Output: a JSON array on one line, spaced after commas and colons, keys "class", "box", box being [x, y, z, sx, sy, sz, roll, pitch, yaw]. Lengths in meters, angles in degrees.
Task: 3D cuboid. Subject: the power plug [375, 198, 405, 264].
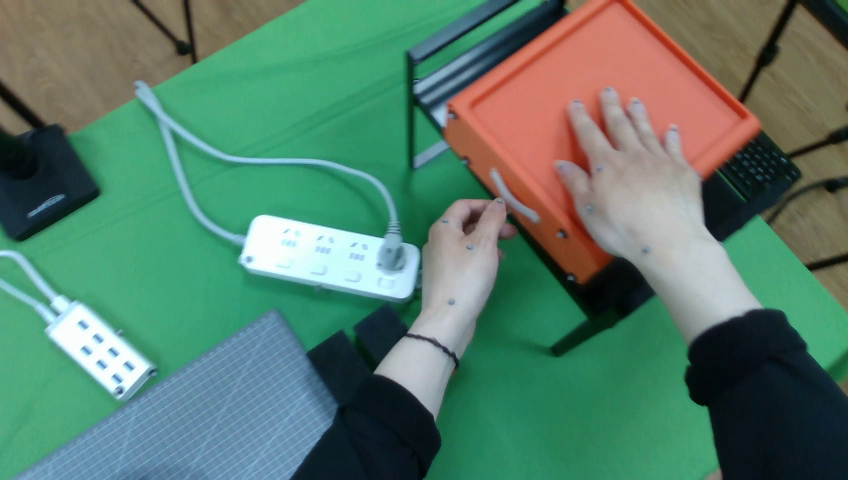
[{"class": "power plug", "box": [-0.034, -0.005, 0.731, 0.035, 0.053, 0.072, 23, 72, 5]}]

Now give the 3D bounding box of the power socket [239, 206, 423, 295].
[{"class": "power socket", "box": [-0.113, 0.013, 0.741, 0.227, 0.033, 0.072, 12, 73, 2]}]

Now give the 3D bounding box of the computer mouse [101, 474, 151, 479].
[{"class": "computer mouse", "box": [-0.299, 0.289, 0.646, 0.117, 0.041, 0.062, 6, 74, 3]}]

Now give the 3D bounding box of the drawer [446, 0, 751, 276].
[{"class": "drawer", "box": [0.160, -0.105, 0.576, 0.211, 0.073, 0.193, -37, 78, -12]}]

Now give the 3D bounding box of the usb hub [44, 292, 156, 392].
[{"class": "usb hub", "box": [-0.376, 0.118, 0.703, 0.125, 0.025, 0.049, 38, 76, 9]}]

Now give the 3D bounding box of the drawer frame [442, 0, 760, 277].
[{"class": "drawer frame", "box": [0.160, -0.109, 0.576, 0.213, 0.083, 0.200, -38, 78, -13]}]
